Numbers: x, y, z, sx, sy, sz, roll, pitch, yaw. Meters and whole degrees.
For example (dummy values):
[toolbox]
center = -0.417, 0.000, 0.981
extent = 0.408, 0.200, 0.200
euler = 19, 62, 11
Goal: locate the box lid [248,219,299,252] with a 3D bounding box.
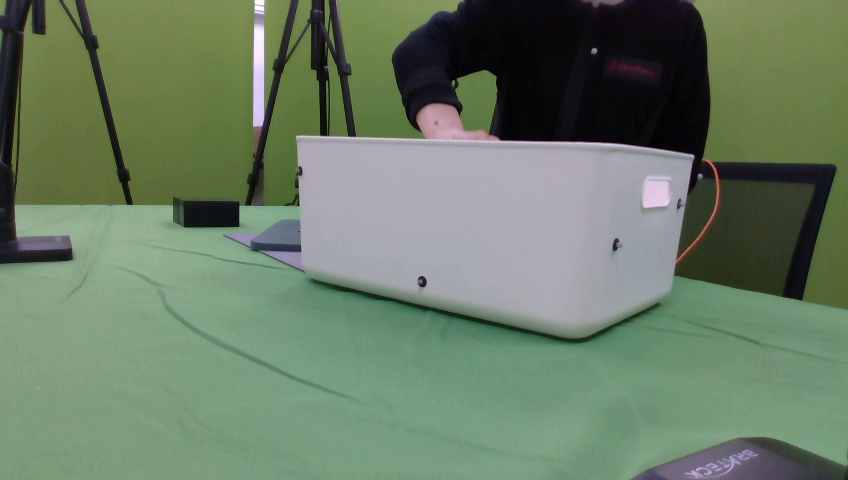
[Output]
[box lid]
center = -0.146, -0.008, 1.066
extent = 0.264, 0.015, 0.371
euler = 3, 7, -6

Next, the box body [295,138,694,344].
[box body]
center = 0.065, -0.020, 0.653
extent = 0.362, 0.160, 0.255
euler = 9, 9, 36

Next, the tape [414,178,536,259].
[tape]
center = 0.051, -0.023, 0.618
extent = 0.117, 0.052, 0.117
euler = 15, 12, -3
